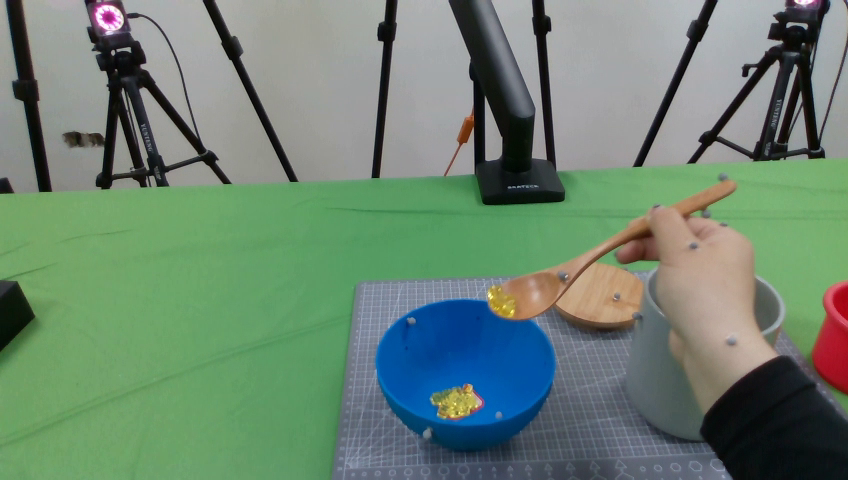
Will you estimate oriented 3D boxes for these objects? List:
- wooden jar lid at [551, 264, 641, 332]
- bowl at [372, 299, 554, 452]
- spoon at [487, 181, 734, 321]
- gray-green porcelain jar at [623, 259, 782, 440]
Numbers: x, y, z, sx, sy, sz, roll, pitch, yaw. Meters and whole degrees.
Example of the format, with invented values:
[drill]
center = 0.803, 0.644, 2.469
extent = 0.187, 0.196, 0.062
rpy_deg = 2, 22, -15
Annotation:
[wooden jar lid]
center = 0.188, 0.064, 0.667
extent = 0.108, 0.021, 0.107
rpy_deg = -2, 32, 1
[bowl]
center = 0.033, 0.127, 0.522
extent = 0.151, 0.077, 0.150
rpy_deg = -1, 33, 1
[spoon]
center = 0.133, 0.006, 0.432
extent = 0.194, 0.022, 0.041
rpy_deg = -31, 38, 5
[gray-green porcelain jar]
center = 0.229, 0.096, 0.515
extent = 0.106, 0.127, 0.105
rpy_deg = -2, 33, 1
